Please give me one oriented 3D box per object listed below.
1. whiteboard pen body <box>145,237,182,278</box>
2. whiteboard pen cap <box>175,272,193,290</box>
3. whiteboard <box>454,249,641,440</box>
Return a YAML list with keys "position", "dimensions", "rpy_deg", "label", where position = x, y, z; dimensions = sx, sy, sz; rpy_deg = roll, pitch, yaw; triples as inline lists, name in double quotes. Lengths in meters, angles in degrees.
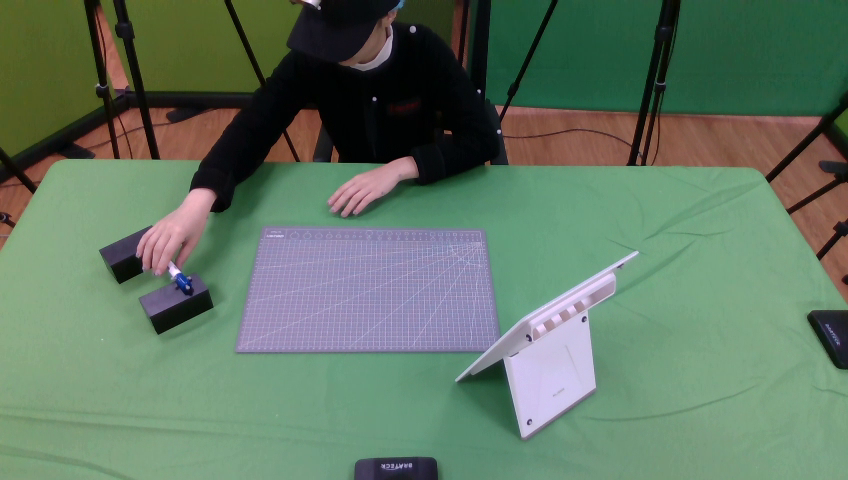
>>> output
- position: [-0.449, 0.038, 1.060]
  dimensions: [0.017, 0.017, 0.140]
  rpy_deg: [-33, 57, -30]
  label: "whiteboard pen body"
- position: [-0.409, 0.069, 1.032]
  dimensions: [0.018, 0.018, 0.033]
  rpy_deg: [-33, 56, -30]
  label: "whiteboard pen cap"
- position: [0.206, 0.174, 0.890]
  dimensions: [0.217, 0.306, 0.143]
  rpy_deg: [-24, 72, -25]
  label: "whiteboard"
